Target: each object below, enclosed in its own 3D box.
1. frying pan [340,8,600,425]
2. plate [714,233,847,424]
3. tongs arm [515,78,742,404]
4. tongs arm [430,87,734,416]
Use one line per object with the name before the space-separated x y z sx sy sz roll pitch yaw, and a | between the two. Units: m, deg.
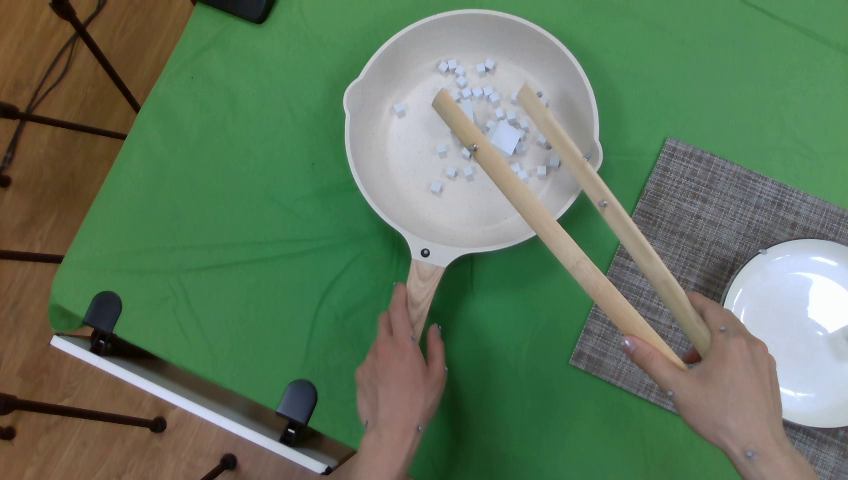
frying pan | 0.020 -0.032 0.694 0.306 0.103 0.485 17 74 7
plate | 0.426 0.096 0.674 0.207 0.039 0.207 -1 80 4
tongs arm | 0.180 -0.015 0.593 0.051 0.026 0.381 -13 63 -38
tongs arm | 0.127 0.001 0.551 0.028 0.028 0.385 -23 69 -45
